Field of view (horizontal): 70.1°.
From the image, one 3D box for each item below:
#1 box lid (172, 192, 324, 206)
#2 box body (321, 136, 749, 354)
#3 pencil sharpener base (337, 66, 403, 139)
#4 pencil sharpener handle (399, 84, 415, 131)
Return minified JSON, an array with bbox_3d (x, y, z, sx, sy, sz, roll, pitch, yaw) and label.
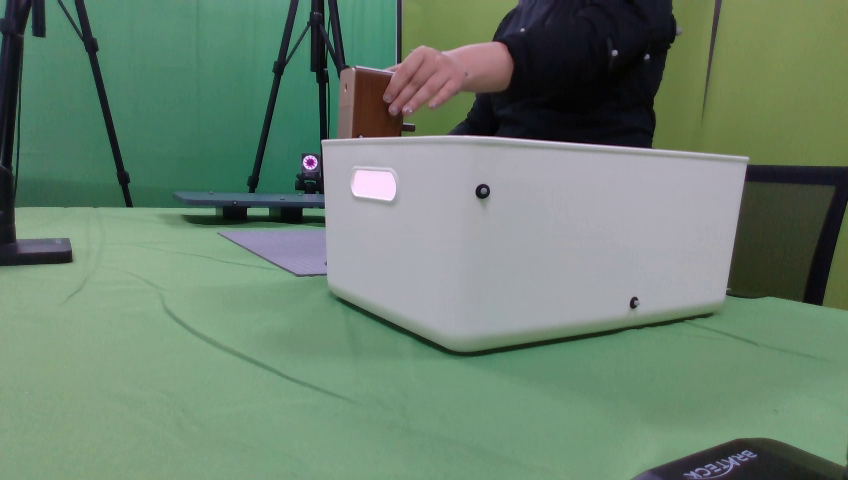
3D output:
[{"bbox_3d":[-0.355,-0.091,1.350,0.373,0.015,0.262,-1,8,-29],"label":"box lid"},{"bbox_3d":[0.105,-0.012,0.603,0.366,0.160,0.253,-2,8,-33],"label":"box body"},{"bbox_3d":[-0.071,-0.173,0.814,0.077,0.107,0.061,1,9,-26],"label":"pencil sharpener base"},{"bbox_3d":[-0.025,-0.185,0.837,0.031,0.067,0.036,1,18,-26],"label":"pencil sharpener handle"}]
